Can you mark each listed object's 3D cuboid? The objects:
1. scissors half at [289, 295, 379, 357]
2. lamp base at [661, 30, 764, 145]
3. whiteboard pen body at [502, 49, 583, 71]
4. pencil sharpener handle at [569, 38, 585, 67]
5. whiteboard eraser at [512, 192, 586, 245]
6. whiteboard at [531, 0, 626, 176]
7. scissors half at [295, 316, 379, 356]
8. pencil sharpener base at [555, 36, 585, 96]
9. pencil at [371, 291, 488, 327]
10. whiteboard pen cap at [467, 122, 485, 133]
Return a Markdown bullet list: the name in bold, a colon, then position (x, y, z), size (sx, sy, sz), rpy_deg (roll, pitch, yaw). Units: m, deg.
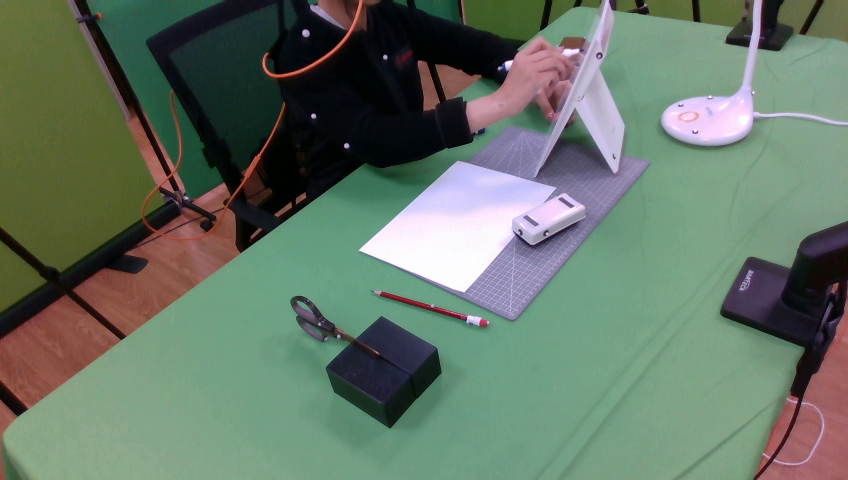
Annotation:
- **scissors half**: position (-0.122, 0.114, 0.803), size (0.174, 0.040, 0.013), rpy_deg (26, 50, 32)
- **lamp base**: position (0.535, -0.287, 1.096), size (0.179, 0.181, 0.159), rpy_deg (-10, 40, -4)
- **whiteboard pen body**: position (0.205, -0.315, 1.053), size (0.140, 0.017, 0.017), rpy_deg (-8, 40, 12)
- **pencil sharpener handle**: position (0.333, -0.413, 1.317), size (0.036, 0.068, 0.030), rpy_deg (19, 47, 13)
- **whiteboard eraser**: position (0.199, -0.032, 0.962), size (0.113, 0.042, 0.055), rpy_deg (-27, 42, -20)
- **whiteboard**: position (0.321, -0.258, 1.050), size (0.144, 0.306, 0.217), rpy_deg (22, 45, 5)
- **scissors half**: position (-0.119, 0.132, 0.813), size (0.174, 0.040, 0.013), rpy_deg (9, 34, 45)
- **pencil sharpener base**: position (0.318, -0.371, 1.290), size (0.061, 0.107, 0.076), rpy_deg (10, 44, 22)
- **pencil**: position (0.003, 0.097, 0.877), size (0.193, 0.012, 0.012), rpy_deg (13, 45, 26)
- **whiteboard pen cap**: position (0.106, -0.228, 1.235), size (0.033, 0.018, 0.018), rpy_deg (-17, 41, -6)
